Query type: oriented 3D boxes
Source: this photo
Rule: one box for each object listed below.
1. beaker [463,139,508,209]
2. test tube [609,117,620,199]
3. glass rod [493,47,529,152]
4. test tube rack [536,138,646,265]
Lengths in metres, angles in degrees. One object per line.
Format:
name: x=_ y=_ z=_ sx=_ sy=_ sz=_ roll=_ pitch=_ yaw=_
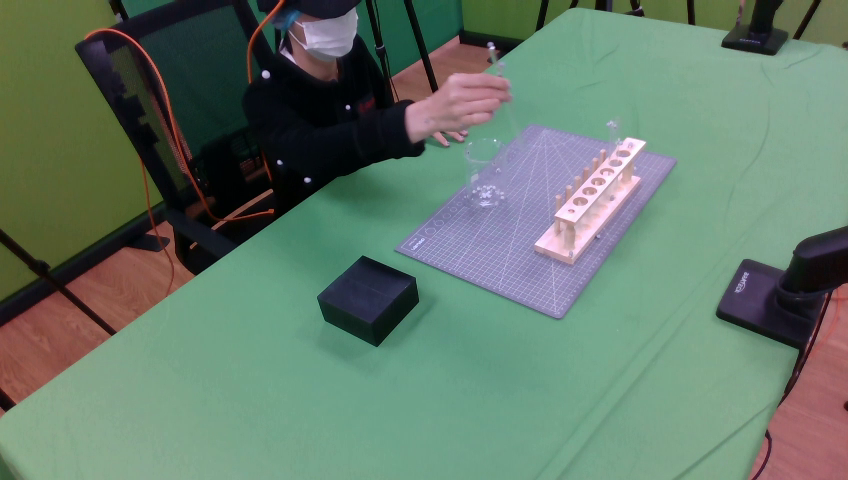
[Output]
beaker: x=0.108 y=-0.111 z=1.027 sx=0.073 sy=0.101 sz=0.084 roll=26 pitch=49 yaw=33
test tube: x=0.298 y=-0.125 z=0.946 sx=0.017 sy=0.151 sz=0.017 roll=-8 pitch=42 yaw=8
glass rod: x=0.123 y=-0.188 z=0.836 sx=0.008 sy=0.201 sz=0.008 roll=-12 pitch=54 yaw=17
test tube rack: x=0.268 y=-0.071 z=0.964 sx=0.066 sy=0.085 sz=0.243 roll=23 pitch=49 yaw=32
